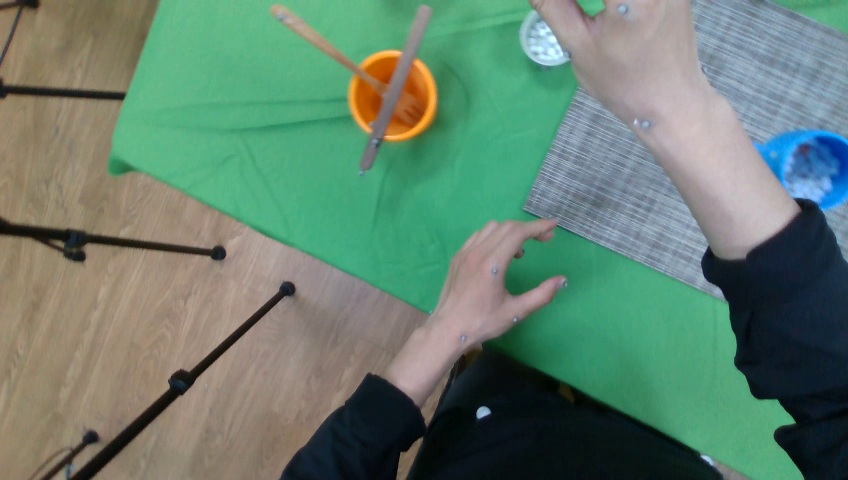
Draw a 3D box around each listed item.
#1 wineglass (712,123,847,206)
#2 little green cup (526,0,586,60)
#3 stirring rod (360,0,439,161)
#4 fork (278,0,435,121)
[{"bbox_3d":[0.334,-0.071,0.572,0.073,0.172,0.074,1,97,8],"label":"wineglass"},{"bbox_3d":[0.140,-0.222,0.647,0.061,0.038,0.061,1,99,8],"label":"little green cup"},{"bbox_3d":[-0.026,-0.162,0.617,0.014,0.006,0.176,25,100,4],"label":"stirring rod"},{"bbox_3d":[-0.063,-0.184,0.621,0.028,0.018,0.209,-46,134,16],"label":"fork"}]
